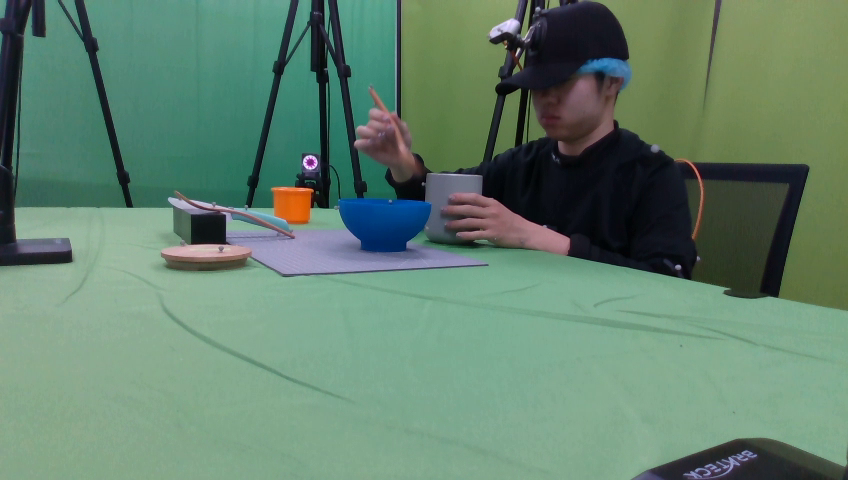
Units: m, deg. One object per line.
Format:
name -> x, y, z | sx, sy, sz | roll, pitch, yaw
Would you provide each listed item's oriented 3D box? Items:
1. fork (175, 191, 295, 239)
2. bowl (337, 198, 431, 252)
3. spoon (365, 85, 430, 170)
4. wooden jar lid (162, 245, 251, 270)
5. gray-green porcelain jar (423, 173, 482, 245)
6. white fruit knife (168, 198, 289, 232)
fork -> -0.305, -0.039, 0.993 | 0.208, 0.018, 0.028 | 19, -9, -34
bowl -> -0.066, -0.024, 0.967 | 0.151, 0.077, 0.151 | 3, 7, 0
spoon -> -0.047, -0.195, 1.042 | 0.022, 0.193, 0.041 | -28, -17, -12
wooden jar lid -> -0.278, 0.022, 0.777 | 0.108, 0.020, 0.108 | 2, 6, 0
gray-green porcelain jar -> 0.051, -0.058, 1.115 | 0.106, 0.126, 0.106 | 2, 8, 0
white fruit knife -> -0.329, -0.044, 1.036 | 0.208, 0.027, 0.016 | 14, -1, -32
